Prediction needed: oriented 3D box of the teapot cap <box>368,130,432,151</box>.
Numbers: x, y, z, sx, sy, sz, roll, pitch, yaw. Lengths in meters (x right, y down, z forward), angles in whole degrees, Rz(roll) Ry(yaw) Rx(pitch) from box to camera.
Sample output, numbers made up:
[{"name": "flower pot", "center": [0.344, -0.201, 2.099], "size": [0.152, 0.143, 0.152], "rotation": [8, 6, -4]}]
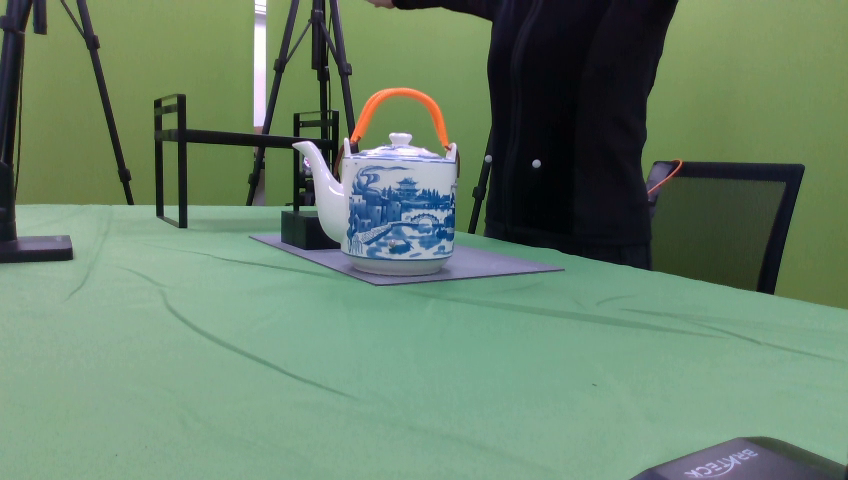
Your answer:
[{"name": "teapot cap", "center": [-0.031, -0.115, 0.754], "size": [0.085, 0.044, 0.085], "rotation": [1, 11, 0]}]

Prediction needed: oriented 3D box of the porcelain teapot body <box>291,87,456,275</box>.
[{"name": "porcelain teapot body", "center": [-0.061, -0.076, 0.754], "size": [0.206, 0.225, 0.145], "rotation": [0, 8, -12]}]
